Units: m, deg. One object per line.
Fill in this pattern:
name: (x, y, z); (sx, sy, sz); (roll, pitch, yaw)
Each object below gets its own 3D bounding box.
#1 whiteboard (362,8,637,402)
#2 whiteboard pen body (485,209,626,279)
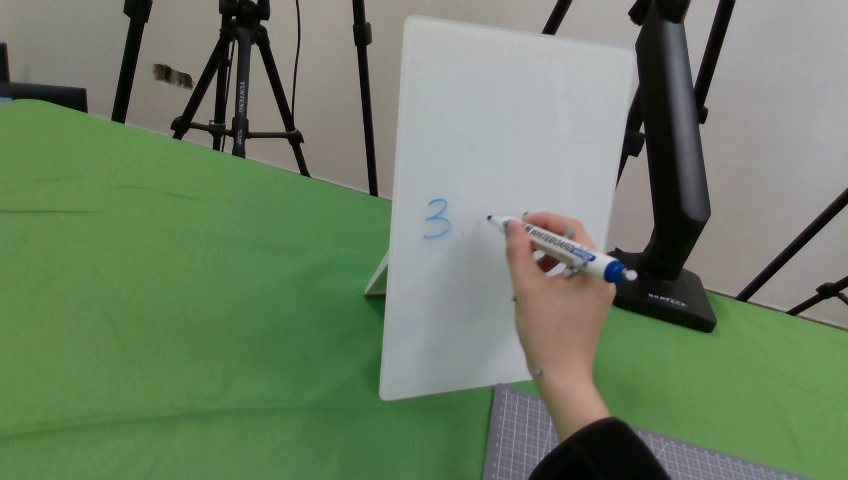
whiteboard: (0.046, -0.035, 0.564); (0.218, 0.306, 0.142); (-2, 16, -25)
whiteboard pen body: (0.085, -0.002, 0.429); (0.017, 0.017, 0.139); (-6, 21, -31)
